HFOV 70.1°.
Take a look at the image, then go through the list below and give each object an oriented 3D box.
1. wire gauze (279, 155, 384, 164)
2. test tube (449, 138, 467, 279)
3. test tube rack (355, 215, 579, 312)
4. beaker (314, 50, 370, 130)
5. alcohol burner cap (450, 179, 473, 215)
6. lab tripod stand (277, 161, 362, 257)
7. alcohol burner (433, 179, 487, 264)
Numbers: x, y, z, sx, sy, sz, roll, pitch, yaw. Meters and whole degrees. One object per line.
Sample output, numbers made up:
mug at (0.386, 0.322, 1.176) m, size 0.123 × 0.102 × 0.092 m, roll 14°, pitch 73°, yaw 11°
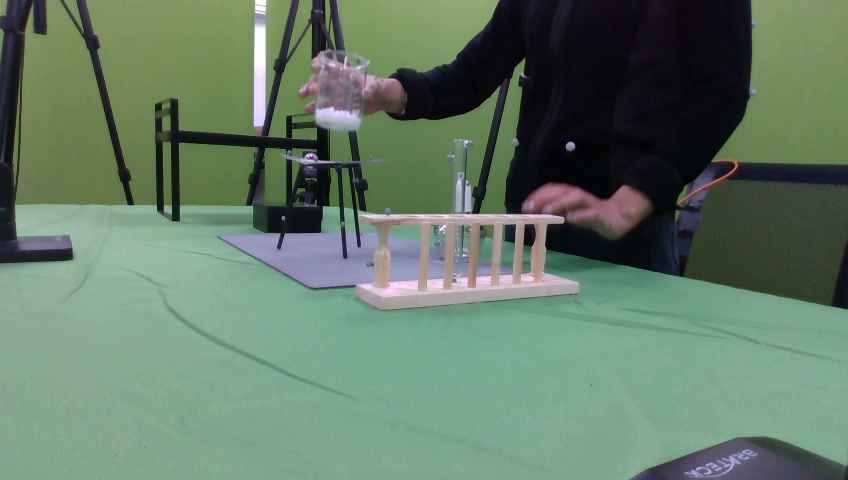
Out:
wire gauze at (-0.134, -0.114, 0.875) m, size 0.122 × 0.011 × 0.124 m, roll -1°, pitch 8°, yaw -30°
test tube at (0.035, -0.033, 0.645) m, size 0.017 × 0.150 × 0.017 m, roll 3°, pitch 4°, yaw 0°
test tube rack at (0.053, 0.018, 0.641) m, size 0.243 × 0.085 × 0.066 m, roll -1°, pitch 8°, yaw -29°
beaker at (-0.118, -0.214, 0.876) m, size 0.083 × 0.100 × 0.074 m, roll 5°, pitch -1°, yaw 25°
alcohol burner cap at (0.053, -0.062, 0.860) m, size 0.034 × 0.048 × 0.034 m, roll 1°, pitch 15°, yaw 0°
lab tripod stand at (-0.143, -0.049, 0.884) m, size 0.148 × 0.131 × 0.148 m, roll 2°, pitch 9°, yaw 0°
alcohol burner at (0.052, -0.027, 0.863) m, size 0.078 × 0.119 × 0.078 m, roll 2°, pitch 5°, yaw 0°
